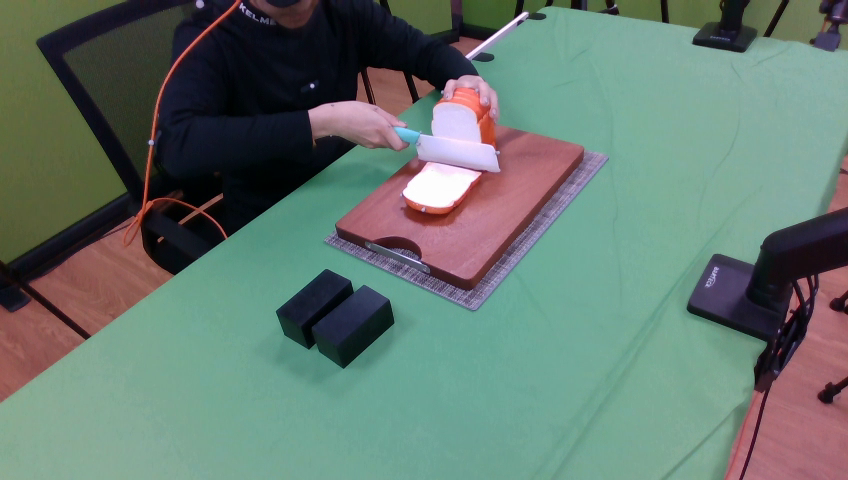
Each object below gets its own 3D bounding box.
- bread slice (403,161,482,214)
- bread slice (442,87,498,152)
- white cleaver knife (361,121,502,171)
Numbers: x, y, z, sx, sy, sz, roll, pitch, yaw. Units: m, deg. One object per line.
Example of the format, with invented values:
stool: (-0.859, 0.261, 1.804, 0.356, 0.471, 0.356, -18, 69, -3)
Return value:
bread slice: (0.024, -0.088, 1.020, 0.104, 0.019, 0.132, 16, 42, 22)
bread slice: (0.080, -0.204, 1.069, 0.106, 0.135, 0.018, 19, 47, 25)
white cleaver knife: (0.006, -0.166, 1.083, 0.284, 0.066, 0.021, 16, 49, 27)
